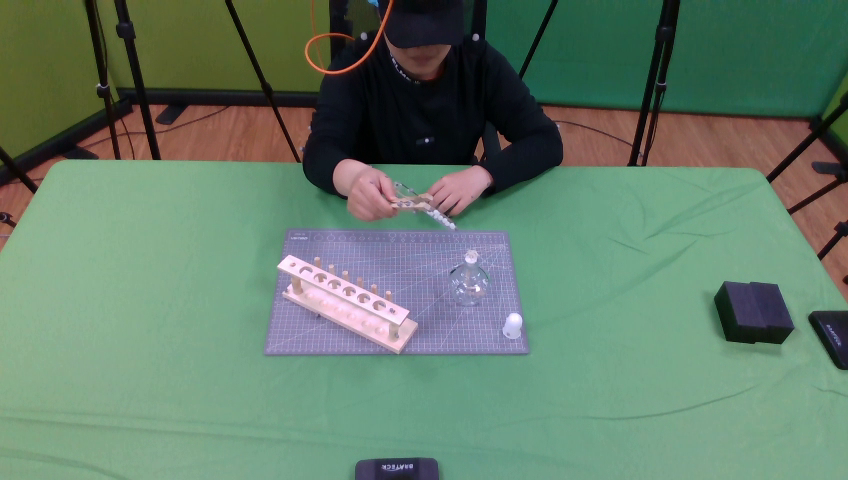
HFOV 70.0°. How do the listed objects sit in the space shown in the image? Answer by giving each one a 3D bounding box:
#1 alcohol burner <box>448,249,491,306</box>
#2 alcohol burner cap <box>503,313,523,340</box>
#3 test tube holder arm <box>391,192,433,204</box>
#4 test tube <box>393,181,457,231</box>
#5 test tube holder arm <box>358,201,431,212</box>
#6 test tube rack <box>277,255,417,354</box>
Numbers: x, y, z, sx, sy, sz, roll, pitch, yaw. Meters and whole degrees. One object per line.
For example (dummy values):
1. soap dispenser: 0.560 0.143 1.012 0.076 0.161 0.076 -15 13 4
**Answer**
1. alcohol burner: 0.081 0.062 1.078 0.078 0.120 0.077 1 45 -1
2. alcohol burner cap: 0.156 0.147 1.051 0.034 0.048 0.033 1 45 -1
3. test tube holder arm: -0.020 -0.060 0.937 0.087 0.015 0.010 -9 55 46
4. test tube: 0.005 -0.050 0.931 0.017 0.151 0.017 -20 54 31
5. test tube holder arm: -0.052 -0.053 0.969 0.178 0.015 0.013 0 60 50
6. test tube rack: -0.131 0.099 1.045 0.241 0.085 0.066 23 49 17
